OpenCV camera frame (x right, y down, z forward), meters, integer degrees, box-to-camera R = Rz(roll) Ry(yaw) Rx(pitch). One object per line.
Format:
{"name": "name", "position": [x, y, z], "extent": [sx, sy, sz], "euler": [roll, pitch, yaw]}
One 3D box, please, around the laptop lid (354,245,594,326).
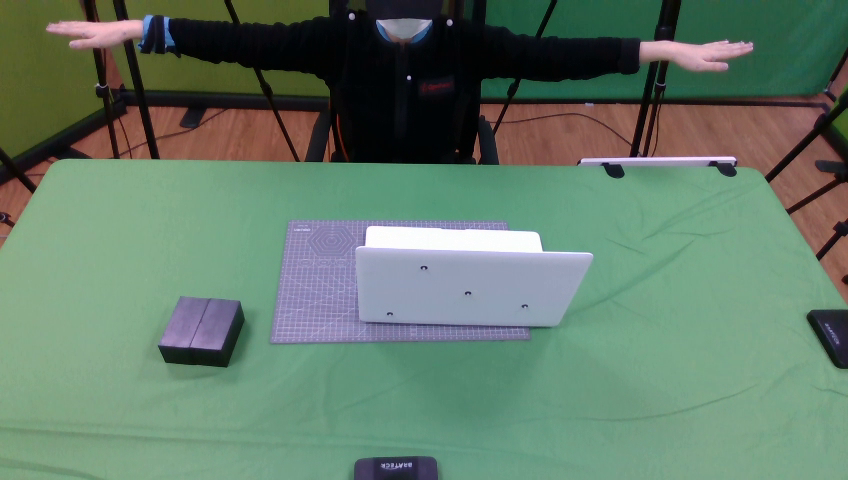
{"name": "laptop lid", "position": [0.069, 0.080, 0.964], "extent": [0.357, 0.243, 0.013], "euler": [2, 55, -4]}

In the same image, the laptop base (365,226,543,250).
{"name": "laptop base", "position": [0.061, 0.063, 1.144], "extent": [0.354, 0.023, 0.234], "euler": [2, 43, -3]}
